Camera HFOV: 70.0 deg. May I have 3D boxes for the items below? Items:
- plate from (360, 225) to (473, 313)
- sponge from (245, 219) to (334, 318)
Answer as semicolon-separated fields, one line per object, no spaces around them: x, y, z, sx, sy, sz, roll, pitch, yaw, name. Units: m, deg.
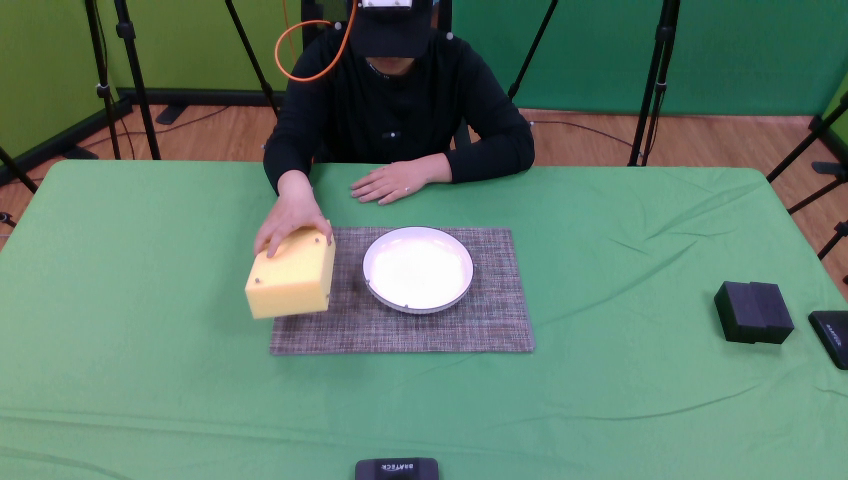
-0.014;0.057;1.127;0.208;0.039;0.206;2;46;-2;plate
-0.222;0.043;1.031;0.118;0.061;0.205;-8;30;-1;sponge
